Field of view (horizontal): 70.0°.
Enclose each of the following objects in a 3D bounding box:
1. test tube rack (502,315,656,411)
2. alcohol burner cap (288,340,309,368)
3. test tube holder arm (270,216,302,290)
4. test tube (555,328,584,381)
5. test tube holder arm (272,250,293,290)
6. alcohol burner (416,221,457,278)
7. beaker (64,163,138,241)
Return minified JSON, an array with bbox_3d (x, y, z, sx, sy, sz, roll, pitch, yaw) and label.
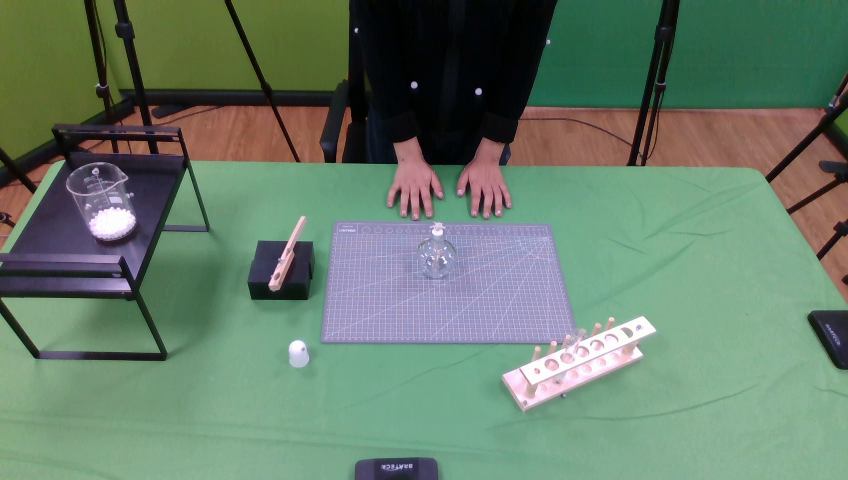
[{"bbox_3d":[0.253,0.186,0.989,0.242,0.085,0.066,-18,50,-20],"label":"test tube rack"},{"bbox_3d":[-0.207,0.183,0.991,0.034,0.048,0.033,3,46,-3],"label":"alcohol burner cap"},{"bbox_3d":[-0.248,0.019,1.096,0.013,0.015,0.177,7,45,1],"label":"test tube holder arm"},{"bbox_3d":[0.221,0.178,0.926,0.017,0.151,0.017,1,51,0],"label":"test tube"},{"bbox_3d":[-0.248,0.051,1.063,0.010,0.015,0.087,8,45,3],"label":"test tube holder arm"},{"bbox_3d":[0.024,0.013,1.116,0.078,0.120,0.077,1,45,-1],"label":"alcohol burner"},{"bbox_3d":[-0.477,-0.055,0.910,0.084,0.101,0.073,-9,48,-13],"label":"beaker"}]
